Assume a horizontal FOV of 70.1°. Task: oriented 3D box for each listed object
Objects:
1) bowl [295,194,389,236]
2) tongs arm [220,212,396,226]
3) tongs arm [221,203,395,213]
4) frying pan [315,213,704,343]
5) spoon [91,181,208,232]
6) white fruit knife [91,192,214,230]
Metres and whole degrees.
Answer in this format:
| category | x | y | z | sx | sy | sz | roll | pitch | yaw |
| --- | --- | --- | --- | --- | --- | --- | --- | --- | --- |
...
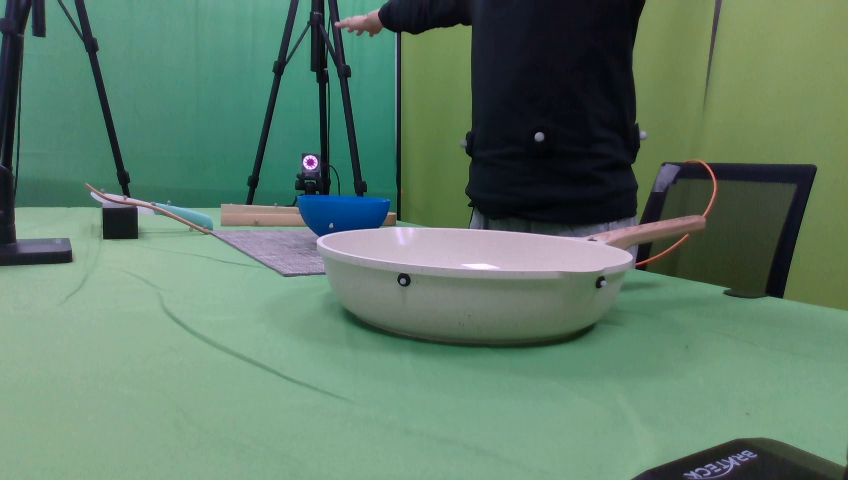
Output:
| category | x | y | z | sx | sy | sz | roll | pitch | yaw |
| --- | --- | --- | --- | --- | --- | --- | --- | --- | --- |
| bowl | -0.132 | -0.032 | 0.980 | 0.151 | 0.077 | 0.151 | 2 | 7 | 0 |
| tongs arm | -0.233 | -0.046 | 1.291 | 0.389 | 0.028 | 0.028 | -1 | 6 | -27 |
| tongs arm | -0.258 | -0.061 | 1.368 | 0.386 | 0.026 | 0.050 | 1 | 8 | -14 |
| frying pan | 0.133 | 0.014 | 0.629 | 0.490 | 0.102 | 0.305 | -11 | 14 | -29 |
| spoon | -0.461 | -0.053 | 1.023 | 0.195 | 0.021 | 0.041 | 21 | 22 | -24 |
| white fruit knife | -0.477 | -0.055 | 1.077 | 0.208 | 0.027 | 0.016 | 15 | -5 | -30 |
